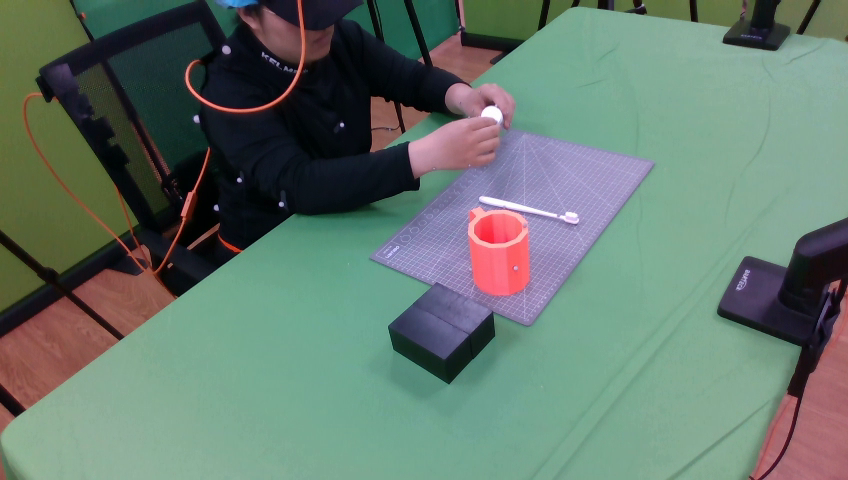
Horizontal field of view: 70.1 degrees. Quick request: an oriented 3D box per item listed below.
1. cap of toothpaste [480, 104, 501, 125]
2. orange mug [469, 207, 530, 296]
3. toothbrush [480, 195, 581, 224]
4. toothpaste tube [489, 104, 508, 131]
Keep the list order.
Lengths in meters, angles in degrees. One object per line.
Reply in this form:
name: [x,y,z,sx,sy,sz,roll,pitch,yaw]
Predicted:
cap of toothpaste: [0.115,-0.214,1.039,0.037,0.037,0.011,1,-2,12]
orange mug: [0.104,0.008,0.894,0.084,0.101,0.125,-22,46,-14]
toothbrush: [0.175,-0.054,1.016,0.180,0.017,0.014,15,58,29]
toothpaste tube: [0.135,-0.229,1.117,0.034,0.055,0.165,-12,6,16]
